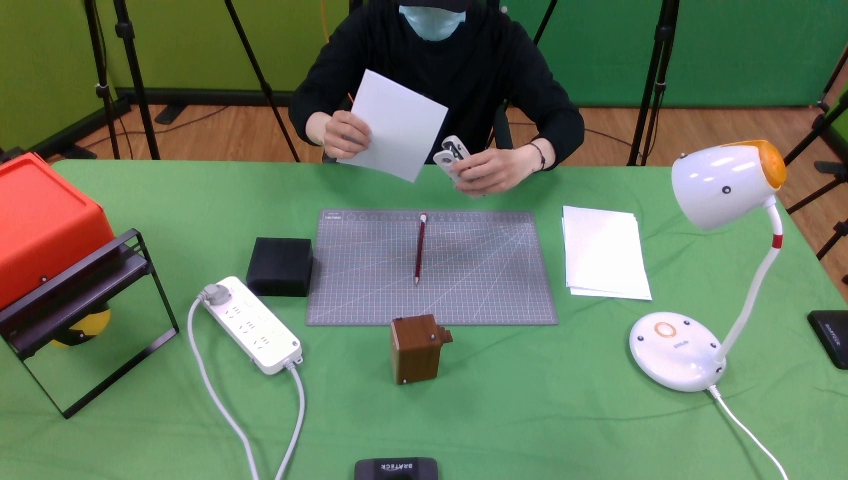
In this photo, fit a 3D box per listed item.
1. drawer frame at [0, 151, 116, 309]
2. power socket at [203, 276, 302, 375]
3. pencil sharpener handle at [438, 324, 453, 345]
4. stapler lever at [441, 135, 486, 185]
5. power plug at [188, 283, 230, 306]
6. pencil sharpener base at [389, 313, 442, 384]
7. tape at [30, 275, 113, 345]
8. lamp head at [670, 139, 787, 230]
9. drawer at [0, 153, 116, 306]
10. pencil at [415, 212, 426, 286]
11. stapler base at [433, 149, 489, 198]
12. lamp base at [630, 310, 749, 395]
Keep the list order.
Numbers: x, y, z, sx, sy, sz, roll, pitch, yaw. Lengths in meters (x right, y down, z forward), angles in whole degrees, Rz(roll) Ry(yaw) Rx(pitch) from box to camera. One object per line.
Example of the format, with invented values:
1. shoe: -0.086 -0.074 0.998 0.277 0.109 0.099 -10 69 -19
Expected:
1. drawer frame: -0.604 -0.013 0.876 0.201 0.083 0.213 31 52 23
2. power socket: -0.297 0.141 1.034 0.072 0.033 0.225 -34 58 -30
3. pencil sharpener handle: 0.036 0.155 0.976 0.031 0.068 0.036 -8 69 -11
4. stapler lever: 0.073 -0.145 1.113 0.027 0.119 0.040 -14 48 38
5. power plug: -0.368 0.099 1.037 0.072 0.053 0.035 -24 52 -26
6. pencil sharpener base: -0.013 0.175 0.971 0.077 0.107 0.061 -8 47 -11
7. tape: -0.594 0.117 1.021 0.117 0.053 0.116 2 45 -2
8. lamp head: 0.415 -0.079 0.812 0.113 0.123 0.112 13 70 -37
9. drawer: -0.601 -0.015 0.880 0.193 0.073 0.211 32 53 23
10. pencil: -0.008 0.014 1.190 0.012 0.012 0.193 5 48 1
11. stapler base: 0.068 -0.125 1.098 0.041 0.131 0.024 -14 48 38
12. lamp base: 0.447 0.142 0.984 0.161 0.181 0.178 -24 55 -24
